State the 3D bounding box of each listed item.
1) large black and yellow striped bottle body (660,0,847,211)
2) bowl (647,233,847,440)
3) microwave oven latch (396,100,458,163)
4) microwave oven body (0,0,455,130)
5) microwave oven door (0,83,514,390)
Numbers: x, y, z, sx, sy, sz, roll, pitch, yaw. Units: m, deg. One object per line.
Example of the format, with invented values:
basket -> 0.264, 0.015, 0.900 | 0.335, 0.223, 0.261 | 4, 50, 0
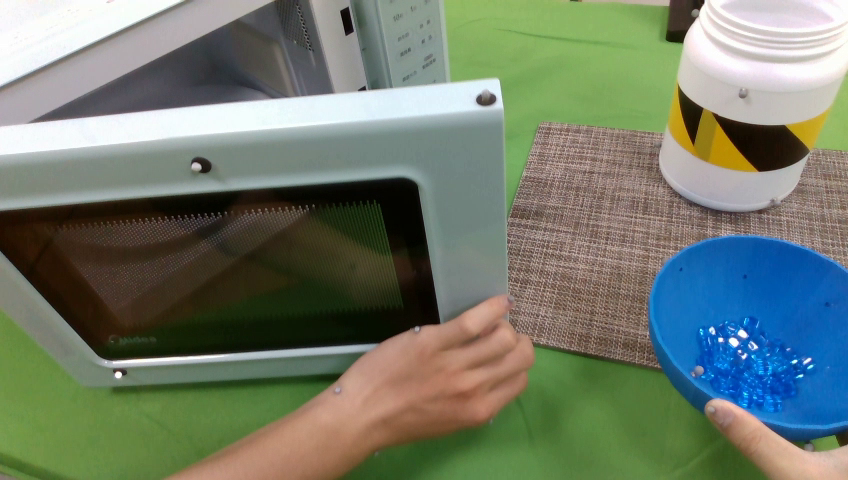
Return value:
large black and yellow striped bottle body -> 0.295, -0.132, 0.547 | 0.131, 0.186, 0.129 | -4, 47, 5
bowl -> 0.225, 0.076, 0.414 | 0.151, 0.077, 0.150 | -3, 48, 4
microwave oven latch -> 0.003, -0.118, 0.661 | 0.079, 0.030, 0.030 | -37, 53, -23
microwave oven body -> -0.237, -0.152, 0.595 | 0.441, 0.263, 0.323 | -39, 54, -24
microwave oven door -> -0.120, 0.019, 0.411 | 0.356, 0.246, 0.039 | -4, 47, 5
